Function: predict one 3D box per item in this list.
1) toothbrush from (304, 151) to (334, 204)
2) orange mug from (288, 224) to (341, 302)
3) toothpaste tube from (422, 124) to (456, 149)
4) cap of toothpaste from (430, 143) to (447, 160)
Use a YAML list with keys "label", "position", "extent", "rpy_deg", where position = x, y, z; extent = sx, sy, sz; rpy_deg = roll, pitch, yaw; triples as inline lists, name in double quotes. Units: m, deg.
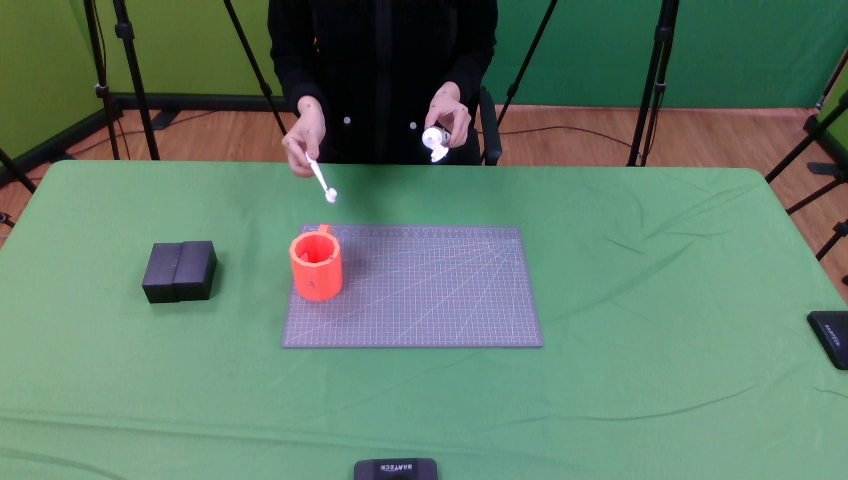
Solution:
- label: "toothbrush"
  position: [-0.176, -0.108, 1.003]
  extent: [0.014, 0.017, 0.180]
  rpy_deg: [10, 27, -30]
- label: "orange mug"
  position: [-0.192, 0.034, 1.094]
  extent: [0.083, 0.101, 0.125]
  rpy_deg: [7, 50, 2]
- label: "toothpaste tube"
  position: [0.025, -0.188, 1.083]
  extent: [0.055, 0.034, 0.164]
  rpy_deg: [30, 19, 0]
- label: "cap of toothpaste"
  position: [0.023, -0.147, 1.003]
  extent: [0.037, 0.011, 0.037]
  rpy_deg: [-34, 27, 21]
